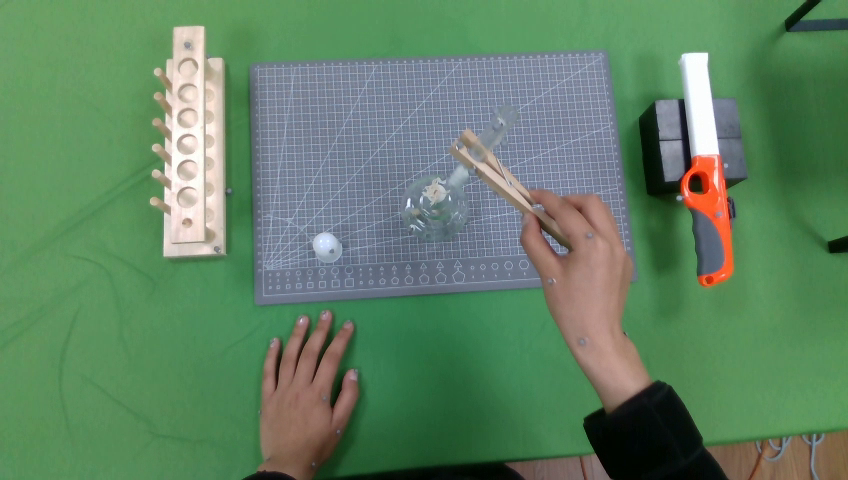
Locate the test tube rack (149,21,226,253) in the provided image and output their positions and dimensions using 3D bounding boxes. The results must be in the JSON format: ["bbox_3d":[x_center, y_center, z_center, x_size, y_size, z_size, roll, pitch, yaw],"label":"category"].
[{"bbox_3d":[-0.268,-0.113,0.681,0.067,0.085,0.241,-3,80,-3],"label":"test tube rack"}]

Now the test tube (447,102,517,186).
[{"bbox_3d":[0.045,-0.076,0.516,0.017,0.150,0.017,4,74,-13],"label":"test tube"}]

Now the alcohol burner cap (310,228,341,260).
[{"bbox_3d":[-0.113,0.002,0.689,0.034,0.048,0.033,1,78,-3],"label":"alcohol burner cap"}]

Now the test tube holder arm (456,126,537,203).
[{"bbox_3d":[0.063,-0.063,0.525,0.088,0.015,0.010,46,68,-3],"label":"test tube holder arm"}]

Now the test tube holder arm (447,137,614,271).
[{"bbox_3d":[0.094,-0.029,0.526,0.179,0.015,0.013,39,69,-5],"label":"test tube holder arm"}]

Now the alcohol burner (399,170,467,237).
[{"bbox_3d":[0.011,-0.044,0.669,0.078,0.119,0.077,0,81,-2],"label":"alcohol burner"}]

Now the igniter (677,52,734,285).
[{"bbox_3d":[0.320,-0.086,0.695,0.057,0.025,0.275,-1,79,2],"label":"igniter"}]
